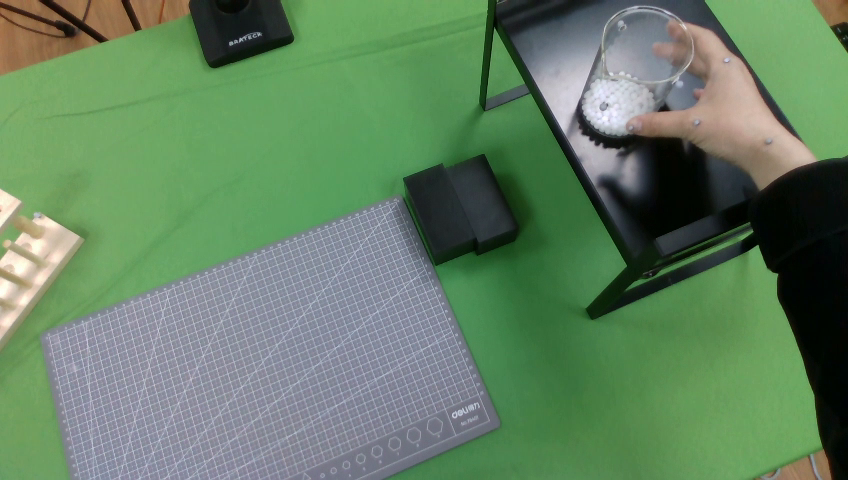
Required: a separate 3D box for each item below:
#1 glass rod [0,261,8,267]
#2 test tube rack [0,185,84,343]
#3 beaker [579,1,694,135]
[{"bbox_3d":[-0.499,0.008,0.621,0.008,0.200,0.008,0,78,2],"label":"glass rod"},{"bbox_3d":[-0.503,0.065,0.672,0.066,0.085,0.241,28,75,10],"label":"test tube rack"},{"bbox_3d":[0.178,-0.142,0.531,0.084,0.101,0.073,-35,74,-9],"label":"beaker"}]
